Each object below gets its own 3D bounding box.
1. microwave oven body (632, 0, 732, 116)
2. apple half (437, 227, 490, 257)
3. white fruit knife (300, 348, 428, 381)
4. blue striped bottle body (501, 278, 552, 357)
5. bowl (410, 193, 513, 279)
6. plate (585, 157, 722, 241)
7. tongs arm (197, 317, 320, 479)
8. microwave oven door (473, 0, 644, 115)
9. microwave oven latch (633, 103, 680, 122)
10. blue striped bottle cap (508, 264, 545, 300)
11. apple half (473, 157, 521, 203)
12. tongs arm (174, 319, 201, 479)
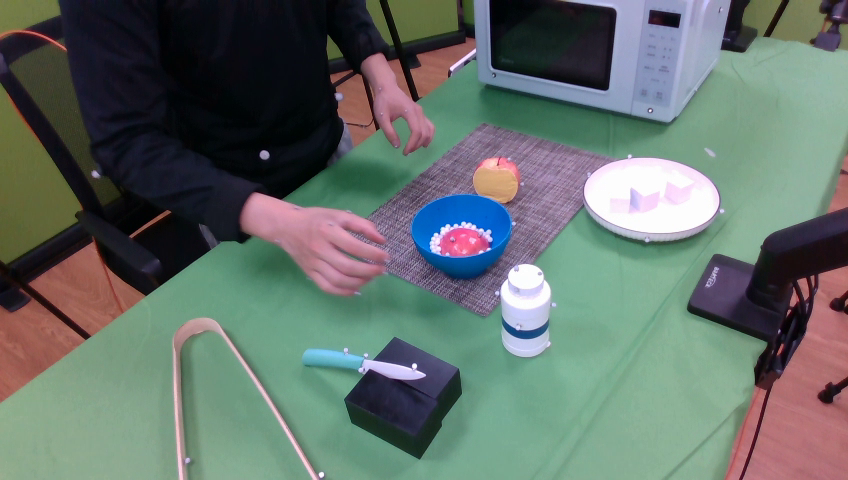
[{"bbox_3d":[0.377,-0.462,1.267,0.438,0.261,0.327,21,49,30],"label":"microwave oven body"},{"bbox_3d":[0.056,0.001,0.902,0.081,0.033,0.081,-3,42,3],"label":"apple half"},{"bbox_3d":[-0.079,0.154,0.748,0.206,0.027,0.016,1,20,34],"label":"white fruit knife"},{"bbox_3d":[0.129,0.089,0.769,0.063,0.121,0.063,-4,41,4],"label":"blue striped bottle body"},{"bbox_3d":[0.058,0.005,0.905,0.151,0.077,0.150,-4,40,3],"label":"bowl"},{"bbox_3d":[0.367,-0.063,0.979,0.207,0.039,0.206,-4,40,4],"label":"plate"},{"bbox_3d":[-0.200,0.207,0.751,0.028,0.028,0.384,-31,45,-22],"label":"tongs arm"},{"bbox_3d":[0.257,-0.396,1.199,0.353,0.245,0.039,21,48,29],"label":"microwave oven door"},{"bbox_3d":[0.444,-0.249,1.157,0.078,0.029,0.030,21,49,30],"label":"microwave oven latch"},{"bbox_3d":[0.125,0.051,0.735,0.044,0.021,0.044,-5,39,5],"label":"blue striped bottle cap"},{"bbox_3d":[0.128,-0.107,1.030,0.080,0.075,0.053,4,38,19],"label":"apple half"},{"bbox_3d":[-0.272,0.234,0.723,0.051,0.026,0.381,-18,40,-15],"label":"tongs arm"}]
